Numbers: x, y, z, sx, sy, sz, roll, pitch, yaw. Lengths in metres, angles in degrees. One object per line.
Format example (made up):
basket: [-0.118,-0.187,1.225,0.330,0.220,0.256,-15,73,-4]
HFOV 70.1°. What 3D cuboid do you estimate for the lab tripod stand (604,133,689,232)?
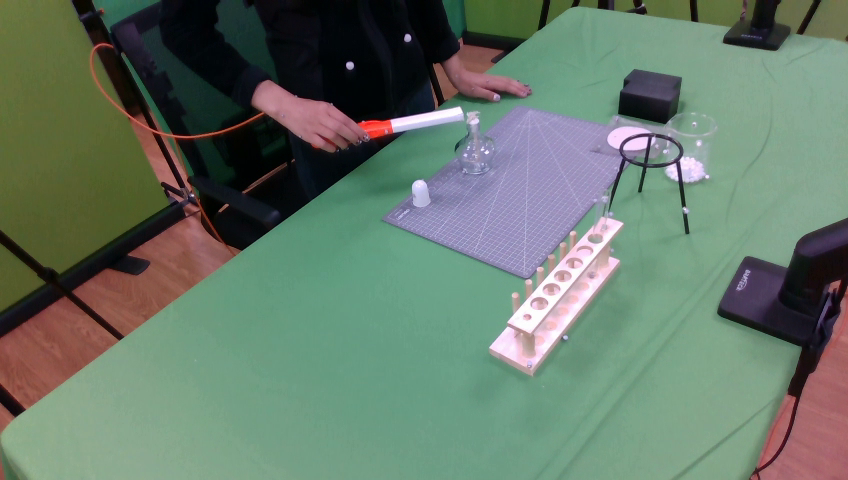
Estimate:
lab tripod stand: [0.347,-0.086,0.932,0.148,0.132,0.147,-4,40,4]

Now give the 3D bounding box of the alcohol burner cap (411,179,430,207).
alcohol burner cap: [-0.008,-0.085,1.063,0.034,0.048,0.033,-4,40,4]

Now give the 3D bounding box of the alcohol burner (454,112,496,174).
alcohol burner: [0.092,-0.181,1.102,0.078,0.119,0.077,-5,42,5]

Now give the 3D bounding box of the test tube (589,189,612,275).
test tube: [0.238,-0.007,0.818,0.017,0.151,0.017,-3,43,4]

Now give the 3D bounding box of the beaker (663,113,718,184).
beaker: [0.442,-0.151,1.018,0.084,0.101,0.074,-1,40,11]

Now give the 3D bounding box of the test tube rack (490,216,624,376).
test tube rack: [0.184,0.064,0.822,0.066,0.085,0.243,24,50,33]

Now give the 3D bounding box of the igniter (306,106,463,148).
igniter: [-0.069,-0.199,1.059,0.277,0.025,0.057,-11,36,-3]

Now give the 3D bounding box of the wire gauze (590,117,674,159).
wire gauze: [0.393,-0.192,1.139,0.120,0.011,0.125,19,47,28]
